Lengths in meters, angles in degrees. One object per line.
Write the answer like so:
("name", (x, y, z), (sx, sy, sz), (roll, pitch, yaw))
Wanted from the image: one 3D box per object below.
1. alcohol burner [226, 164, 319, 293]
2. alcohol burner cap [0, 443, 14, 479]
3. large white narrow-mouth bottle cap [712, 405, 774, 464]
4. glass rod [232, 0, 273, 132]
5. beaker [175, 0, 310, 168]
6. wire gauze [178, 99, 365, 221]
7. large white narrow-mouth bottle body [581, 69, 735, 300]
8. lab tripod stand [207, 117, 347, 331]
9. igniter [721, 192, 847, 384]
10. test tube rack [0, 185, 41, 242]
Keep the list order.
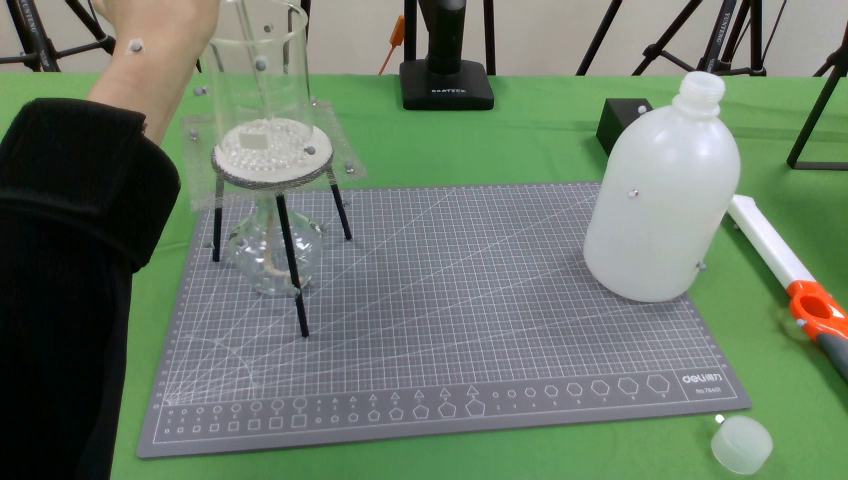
("alcohol burner", (-0.127, -0.013, 0.505), (0.078, 0.120, 0.077), (4, 40, -3))
("alcohol burner cap", (-0.288, 0.135, 0.385), (0.034, 0.048, 0.033), (4, 41, -3))
("large white narrow-mouth bottle cap", (0.229, 0.140, 0.435), (0.038, 0.024, 0.037), (2, 41, -1))
("glass rod", (-0.124, -0.159, 0.397), (0.008, 0.201, 0.008), (-2, 40, 2))
("beaker", (-0.121, -0.108, 0.425), (0.084, 0.101, 0.073), (-7, 44, -12))
("wire gauze", (-0.118, -0.069, 0.456), (0.122, 0.011, 0.123), (-13, 48, -16))
("large white narrow-mouth bottle body", (0.199, -0.047, 0.508), (0.102, 0.196, 0.101), (2, 42, -1))
("lab tripod stand", (-0.117, -0.019, 0.498), (0.148, 0.132, 0.147), (4, 42, -3))
("igniter", (0.340, 0.047, 0.544), (0.057, 0.025, 0.273), (7, 40, -13))
("test tube rack", (-0.469, -0.007, 0.496), (0.066, 0.086, 0.242), (33, 49, 29))
